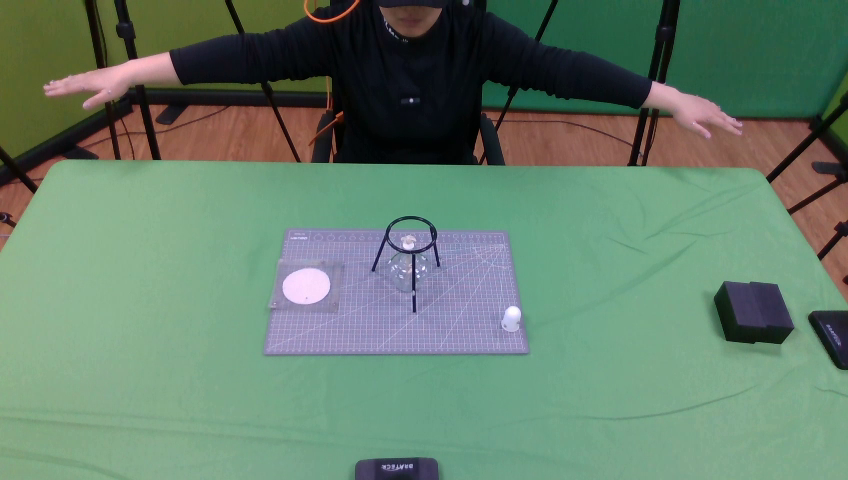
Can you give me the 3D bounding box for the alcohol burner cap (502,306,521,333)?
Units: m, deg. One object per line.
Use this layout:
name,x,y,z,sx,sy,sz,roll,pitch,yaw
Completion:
alcohol burner cap,0.155,0.137,1.061,0.034,0.048,0.033,1,45,-1

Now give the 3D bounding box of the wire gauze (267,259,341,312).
wire gauze,-0.218,0.081,1.110,0.125,0.011,0.120,1,46,0

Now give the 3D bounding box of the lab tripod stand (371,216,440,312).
lab tripod stand,-0.029,0.033,1.083,0.148,0.132,0.147,1,47,-1

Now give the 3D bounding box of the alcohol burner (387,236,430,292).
alcohol burner,-0.028,0.038,1.093,0.078,0.120,0.077,1,46,-1
